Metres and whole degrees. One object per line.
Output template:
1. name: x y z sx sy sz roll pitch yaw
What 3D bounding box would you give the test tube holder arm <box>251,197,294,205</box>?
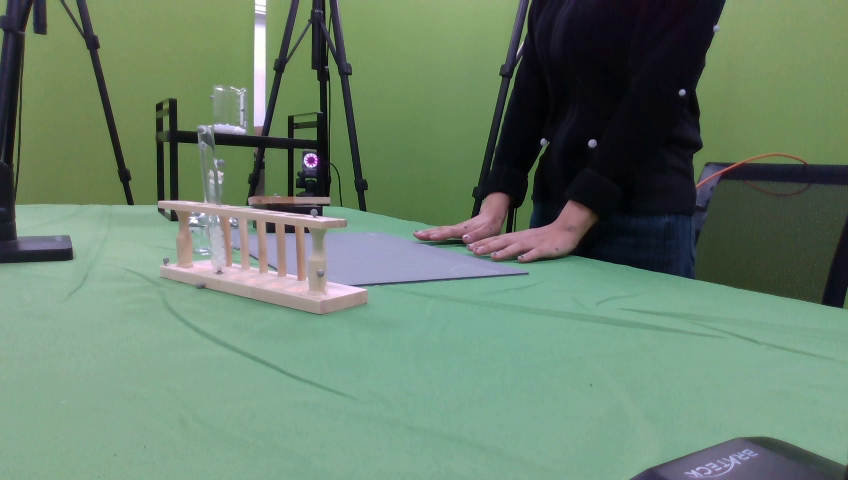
1. test tube holder arm: -0.277 -0.072 1.108 0.010 0.015 0.088 5 7 40

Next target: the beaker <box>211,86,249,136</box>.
1. beaker: -0.413 -0.274 1.297 0.074 0.100 0.083 -5 11 -44

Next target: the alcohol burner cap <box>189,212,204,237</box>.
1. alcohol burner cap: -0.389 -0.029 1.026 0.034 0.048 0.034 3 9 0

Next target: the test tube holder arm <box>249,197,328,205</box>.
1. test tube holder arm: -0.252 -0.075 1.146 0.013 0.015 0.179 5 6 38

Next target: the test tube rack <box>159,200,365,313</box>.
1. test tube rack: -0.173 0.009 0.624 0.241 0.085 0.067 7 9 34

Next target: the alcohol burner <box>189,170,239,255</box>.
1. alcohol burner: -0.297 -0.039 0.853 0.078 0.119 0.078 3 6 0

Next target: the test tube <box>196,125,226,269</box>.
1. test tube: -0.220 -0.043 0.626 0.017 0.150 0.017 -2 10 1
